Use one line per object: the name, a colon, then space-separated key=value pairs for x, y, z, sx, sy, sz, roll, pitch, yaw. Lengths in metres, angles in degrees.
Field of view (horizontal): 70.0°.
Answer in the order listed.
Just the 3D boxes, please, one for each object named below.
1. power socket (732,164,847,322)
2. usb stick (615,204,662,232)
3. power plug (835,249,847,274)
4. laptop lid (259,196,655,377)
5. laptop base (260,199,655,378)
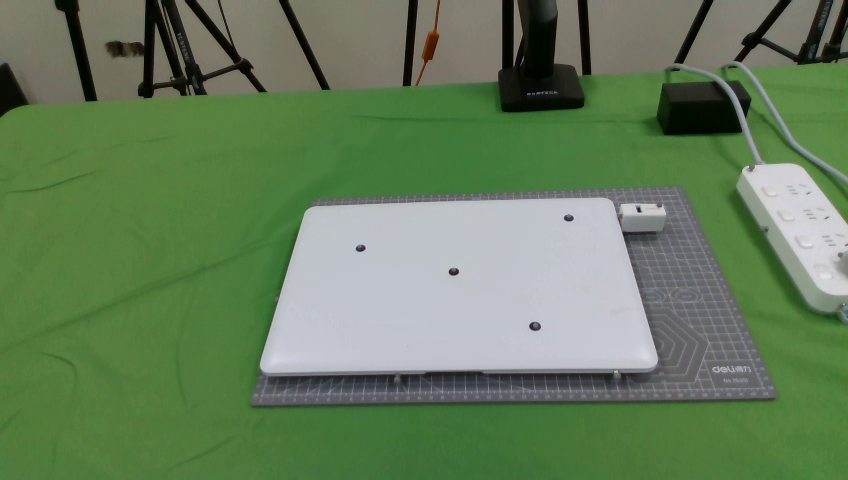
power socket: x=0.394 y=-0.010 z=0.631 sx=0.072 sy=0.033 sz=0.224 roll=-2 pitch=41 yaw=2
usb stick: x=0.225 y=-0.024 z=0.658 sx=0.059 sy=0.027 sz=0.021 roll=-3 pitch=40 yaw=7
power plug: x=0.422 y=0.023 z=0.561 sx=0.072 sy=0.053 sz=0.035 roll=6 pitch=43 yaw=9
laptop lid: x=0.029 y=0.036 z=0.610 sx=0.356 sy=0.013 sz=0.239 roll=-1 pitch=43 yaw=5
laptop base: x=0.030 y=0.043 z=0.620 sx=0.354 sy=0.023 sz=0.233 roll=-2 pitch=45 yaw=4
